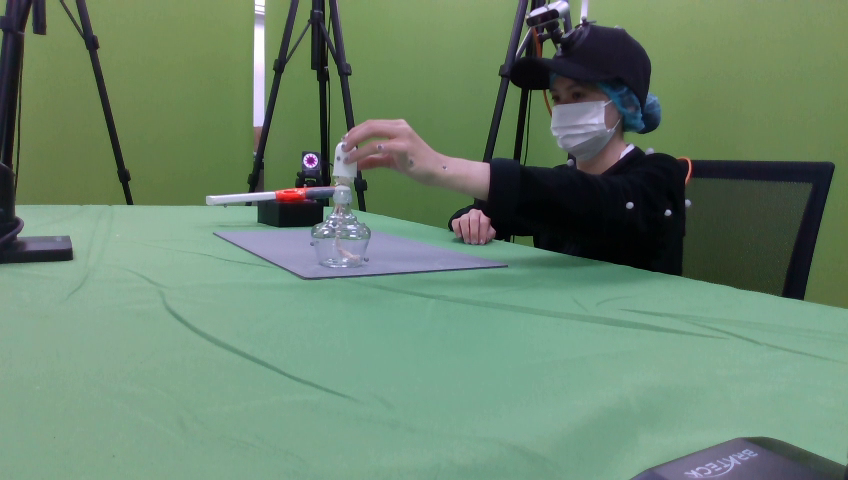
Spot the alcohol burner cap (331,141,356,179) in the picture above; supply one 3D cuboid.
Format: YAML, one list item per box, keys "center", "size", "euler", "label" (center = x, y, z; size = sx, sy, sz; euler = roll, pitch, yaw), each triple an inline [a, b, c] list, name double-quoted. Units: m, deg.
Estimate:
- center: [-0.102, -0.102, 0.771]
  size: [0.034, 0.048, 0.034]
  euler: [4, 7, 0]
  label: "alcohol burner cap"

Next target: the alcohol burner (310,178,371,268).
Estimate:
- center: [-0.107, -0.024, 0.778]
  size: [0.078, 0.119, 0.078]
  euler: [3, 5, 0]
  label: "alcohol burner"

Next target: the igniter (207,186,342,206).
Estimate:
- center: [-0.300, -0.091, 1.241]
  size: [0.278, 0.025, 0.057]
  euler: [-8, 11, -34]
  label: "igniter"
